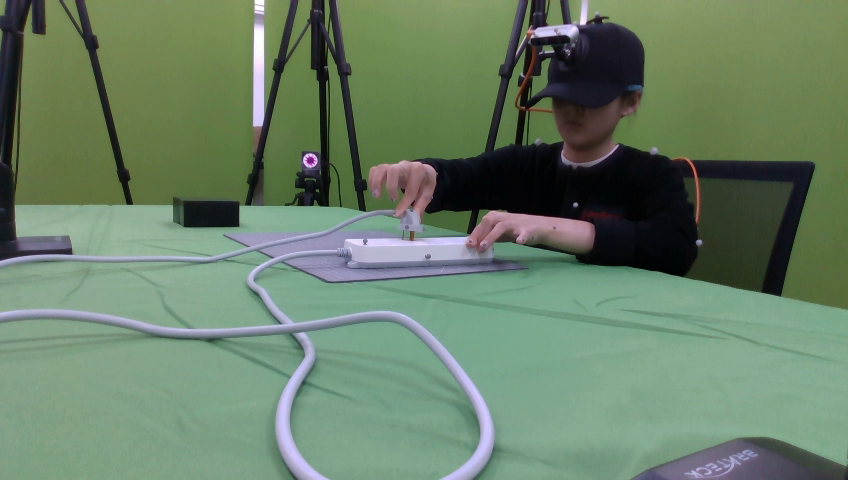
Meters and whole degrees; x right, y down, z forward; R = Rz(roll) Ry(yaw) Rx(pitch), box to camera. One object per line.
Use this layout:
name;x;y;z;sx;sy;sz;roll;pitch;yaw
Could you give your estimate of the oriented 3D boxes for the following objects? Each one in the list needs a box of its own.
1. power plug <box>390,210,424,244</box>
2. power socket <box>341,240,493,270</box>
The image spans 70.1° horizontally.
power plug;-0.025;-0.016;0.851;0.035;0.052;0.072;8;-1;-18
power socket;-0.006;0.018;0.831;0.228;0.032;0.072;-1;7;-28
